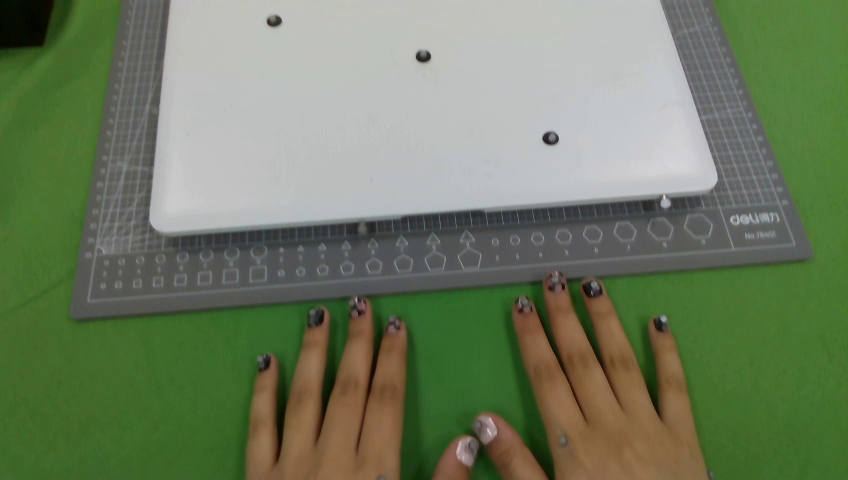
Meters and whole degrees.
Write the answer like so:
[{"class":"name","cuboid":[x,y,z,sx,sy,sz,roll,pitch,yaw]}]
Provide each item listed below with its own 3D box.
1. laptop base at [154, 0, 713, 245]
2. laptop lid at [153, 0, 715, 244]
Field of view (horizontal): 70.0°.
[{"class":"laptop base","cuboid":[0.000,-0.112,0.430,0.355,0.023,0.233,-5,67,-3]},{"class":"laptop lid","cuboid":[0.001,-0.116,0.418,0.357,0.013,0.239,-3,65,-3]}]
